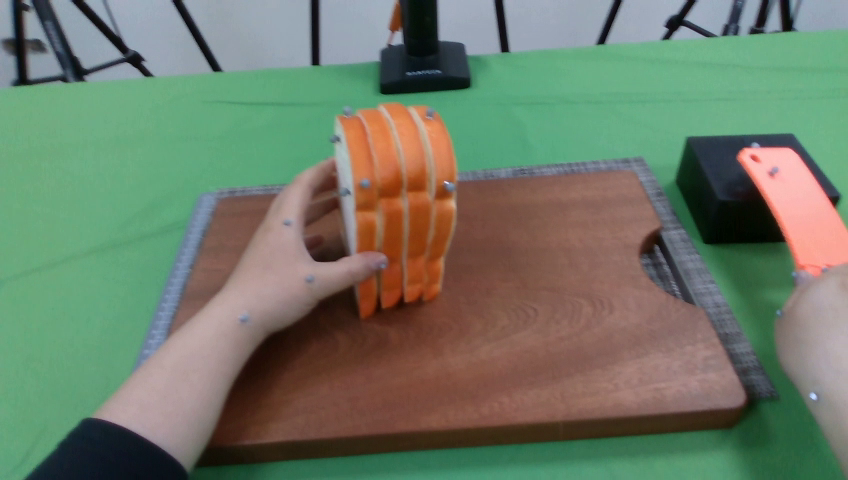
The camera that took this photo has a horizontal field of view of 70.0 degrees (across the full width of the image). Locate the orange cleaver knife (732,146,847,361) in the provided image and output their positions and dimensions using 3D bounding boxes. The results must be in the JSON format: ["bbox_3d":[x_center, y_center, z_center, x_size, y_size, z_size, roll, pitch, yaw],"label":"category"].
[{"bbox_3d":[0.297,-0.002,0.466,0.077,0.012,0.209,10,51,-11],"label":"orange cleaver knife"}]

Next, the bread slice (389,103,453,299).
[{"bbox_3d":[-0.004,-0.035,0.463,0.019,0.132,0.103,-6,44,-16],"label":"bread slice"}]

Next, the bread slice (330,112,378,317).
[{"bbox_3d":[-0.054,-0.027,0.457,0.018,0.135,0.105,-9,39,-13],"label":"bread slice"}]
